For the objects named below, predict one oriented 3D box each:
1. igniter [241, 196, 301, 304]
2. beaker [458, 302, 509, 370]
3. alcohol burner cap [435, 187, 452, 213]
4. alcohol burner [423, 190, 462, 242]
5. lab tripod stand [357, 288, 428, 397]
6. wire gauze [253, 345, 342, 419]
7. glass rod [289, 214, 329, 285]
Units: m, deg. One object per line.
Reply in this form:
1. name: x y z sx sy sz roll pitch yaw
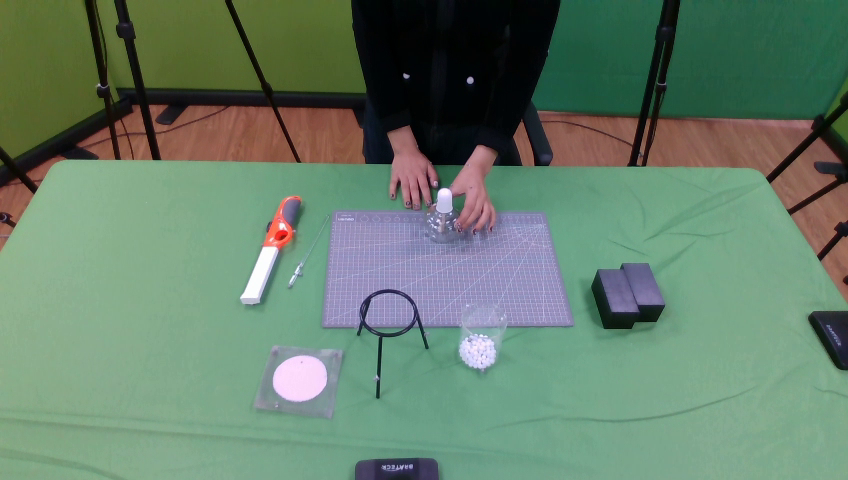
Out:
1. igniter: -0.290 0.010 1.164 0.057 0.025 0.275 0 45 10
2. beaker: 0.092 0.159 0.999 0.083 0.101 0.074 35 53 28
3. alcohol burner cap: 0.038 -0.079 1.160 0.034 0.048 0.033 1 41 0
4. alcohol burner: 0.038 -0.053 1.185 0.078 0.120 0.077 1 48 -1
5. lab tripod stand: -0.058 0.155 0.967 0.148 0.132 0.147 3 47 -3
6. wire gauze: -0.200 0.224 0.979 0.125 0.011 0.121 7 47 0
7. glass rod: -0.221 0.014 1.179 0.008 0.008 0.199 12 46 8
